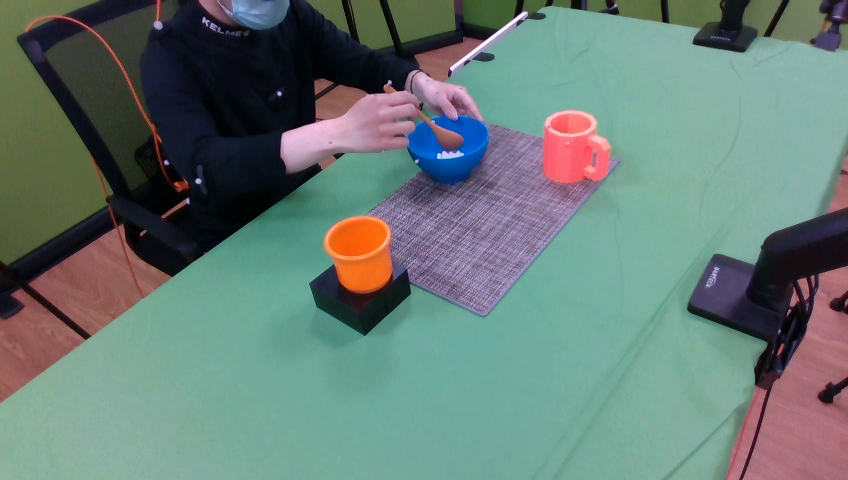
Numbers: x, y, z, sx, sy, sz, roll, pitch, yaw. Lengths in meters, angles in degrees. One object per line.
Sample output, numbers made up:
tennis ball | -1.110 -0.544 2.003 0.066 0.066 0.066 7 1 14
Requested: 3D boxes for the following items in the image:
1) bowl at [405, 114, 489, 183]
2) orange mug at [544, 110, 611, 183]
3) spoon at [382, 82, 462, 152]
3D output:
bowl | 0.044 -0.157 1.096 0.151 0.077 0.150 -4 41 4
orange mug | 0.266 -0.157 1.049 0.084 0.101 0.125 -33 42 -26
spoon | -0.002 -0.201 1.007 0.041 0.195 0.021 5 62 49
